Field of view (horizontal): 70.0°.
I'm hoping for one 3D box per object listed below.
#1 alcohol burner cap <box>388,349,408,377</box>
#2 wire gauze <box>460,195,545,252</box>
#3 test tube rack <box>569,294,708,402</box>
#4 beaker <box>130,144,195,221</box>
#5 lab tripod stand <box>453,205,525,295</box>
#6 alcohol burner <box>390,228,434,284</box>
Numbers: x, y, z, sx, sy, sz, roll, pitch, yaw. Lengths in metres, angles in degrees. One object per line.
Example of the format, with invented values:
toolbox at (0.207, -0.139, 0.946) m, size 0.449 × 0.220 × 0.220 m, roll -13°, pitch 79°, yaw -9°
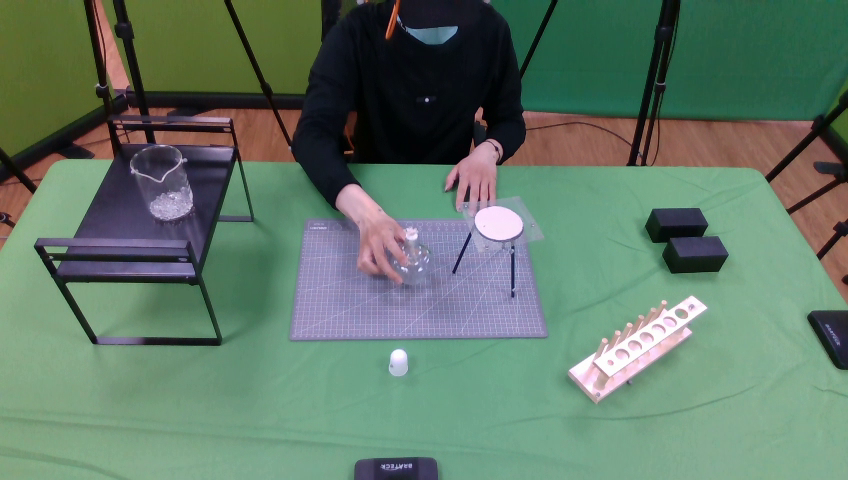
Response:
alcohol burner cap at (-0.042, 0.197, 0.989) m, size 0.034 × 0.048 × 0.033 m, roll 3°, pitch 46°, yaw -2°
wire gauze at (0.136, -0.035, 1.061) m, size 0.121 × 0.011 × 0.124 m, roll -9°, pitch 46°, yaw -12°
test tube rack at (0.360, 0.167, 1.014) m, size 0.242 × 0.085 × 0.066 m, roll -25°, pitch 53°, yaw -25°
beaker at (-0.403, -0.085, 0.944) m, size 0.074 × 0.101 × 0.083 m, roll -15°, pitch 50°, yaw -17°
lab tripod stand at (0.131, 0.010, 1.111) m, size 0.148 × 0.132 × 0.147 m, roll 1°, pitch 45°, yaw -1°
alcohol burner at (-0.021, 0.022, 1.060) m, size 0.078 × 0.120 × 0.077 m, roll 1°, pitch 47°, yaw -1°
